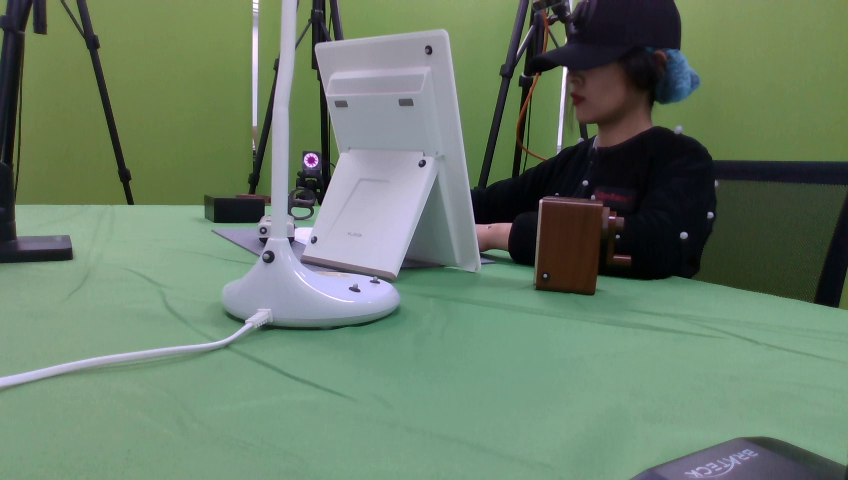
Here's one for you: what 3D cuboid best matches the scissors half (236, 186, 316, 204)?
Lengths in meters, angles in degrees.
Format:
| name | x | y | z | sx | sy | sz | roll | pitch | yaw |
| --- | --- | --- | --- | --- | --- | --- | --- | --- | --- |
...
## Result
| name | x | y | z | sx | sy | sz | roll | pitch | yaw |
| --- | --- | --- | --- | --- | --- | --- | --- | --- | --- |
| scissors half | -0.320 | -0.097 | 1.316 | 0.176 | 0.040 | 0.013 | -3 | 11 | -29 |

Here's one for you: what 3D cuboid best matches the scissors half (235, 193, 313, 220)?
| name | x | y | z | sx | sy | sz | roll | pitch | yaw |
| --- | --- | --- | --- | --- | --- | --- | --- | --- | --- |
| scissors half | -0.324 | -0.077 | 1.319 | 0.176 | 0.040 | 0.012 | 17 | 6 | -32 |

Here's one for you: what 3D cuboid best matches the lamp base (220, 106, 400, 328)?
| name | x | y | z | sx | sy | sz | roll | pitch | yaw |
| --- | --- | --- | --- | --- | --- | --- | --- | --- | --- |
| lamp base | -0.101 | -0.023 | 0.531 | 0.160 | 0.180 | 0.179 | 4 | 10 | 10 |

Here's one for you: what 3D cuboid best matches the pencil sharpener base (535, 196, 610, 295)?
| name | x | y | z | sx | sy | sz | roll | pitch | yaw |
| --- | --- | --- | --- | --- | --- | --- | --- | --- | --- |
| pencil sharpener base | 0.172 | 0.005 | 0.695 | 0.076 | 0.107 | 0.061 | 5 | 7 | 16 |

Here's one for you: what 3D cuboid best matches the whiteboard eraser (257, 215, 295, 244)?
| name | x | y | z | sx | sy | sz | roll | pitch | yaw |
| --- | --- | --- | --- | --- | --- | --- | --- | --- | --- |
| whiteboard eraser | -0.232 | -0.016 | 0.951 | 0.056 | 0.042 | 0.112 | 2 | 7 | -12 |

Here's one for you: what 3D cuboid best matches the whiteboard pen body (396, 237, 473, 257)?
| name | x | y | z | sx | sy | sz | roll | pitch | yaw |
| --- | --- | --- | --- | --- | --- | --- | --- | --- | --- |
| whiteboard pen body | 0.014 | 0.012 | 0.886 | 0.140 | 0.017 | 0.017 | 10 | 11 | 38 |

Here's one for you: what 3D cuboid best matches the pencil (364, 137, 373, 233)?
| name | x | y | z | sx | sy | sz | roll | pitch | yaw |
| --- | --- | --- | --- | --- | --- | --- | --- | --- | --- |
| pencil | -0.106 | -0.105 | 1.145 | 0.012 | 0.193 | 0.012 | 1 | -15 | 1 |

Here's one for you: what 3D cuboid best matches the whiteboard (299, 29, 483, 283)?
| name | x | y | z | sx | sy | sz | roll | pitch | yaw |
| --- | --- | --- | --- | --- | --- | --- | --- | --- | --- |
| whiteboard | -0.074 | -0.082 | 0.742 | 0.216 | 0.305 | 0.144 | 9 | 30 | 38 |

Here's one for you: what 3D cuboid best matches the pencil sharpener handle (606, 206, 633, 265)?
| name | x | y | z | sx | sy | sz | roll | pitch | yaw |
| --- | --- | --- | --- | --- | --- | --- | --- | --- | --- |
| pencil sharpener handle | 0.223 | -0.004 | 0.683 | 0.030 | 0.068 | 0.036 | 5 | 20 | 17 |

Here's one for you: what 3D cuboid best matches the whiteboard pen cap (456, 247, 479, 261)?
| name | x | y | z | sx | sy | sz | roll | pitch | yaw |
| --- | --- | --- | --- | --- | --- | --- | --- | --- | --- |
| whiteboard pen cap | 0.060 | 0.020 | 0.851 | 0.033 | 0.018 | 0.018 | 10 | 10 | 37 |
